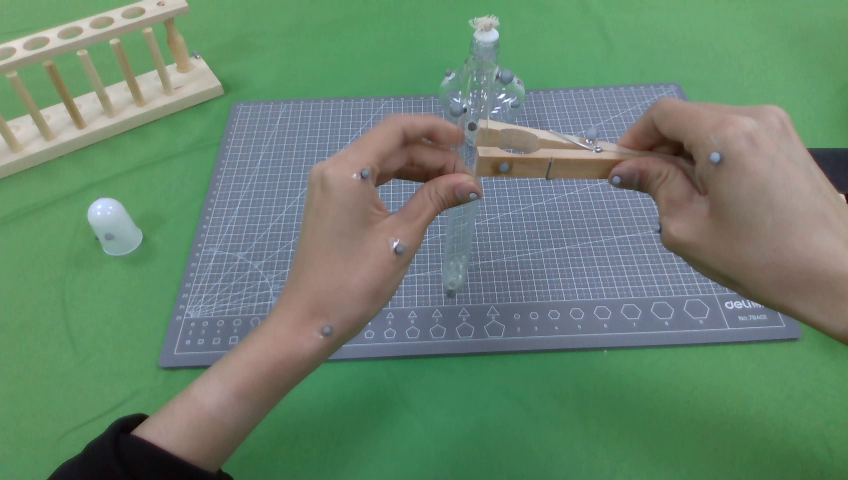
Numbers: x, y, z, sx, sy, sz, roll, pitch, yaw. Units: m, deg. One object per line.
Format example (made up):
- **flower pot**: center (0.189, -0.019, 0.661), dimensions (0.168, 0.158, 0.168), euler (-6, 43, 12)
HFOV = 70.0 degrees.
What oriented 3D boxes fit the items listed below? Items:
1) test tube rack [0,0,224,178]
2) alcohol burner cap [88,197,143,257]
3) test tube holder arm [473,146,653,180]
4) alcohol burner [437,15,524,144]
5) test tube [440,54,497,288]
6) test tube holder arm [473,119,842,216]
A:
- **test tube rack**: center (-0.326, -0.146, 0.569), dimensions (0.242, 0.086, 0.066), euler (-27, 54, -19)
- **alcohol burner cap**: center (-0.250, -0.013, 0.485), dimensions (0.034, 0.048, 0.033), euler (-1, 50, 1)
- **test tube holder arm**: center (0.068, -0.038, 0.298), dimensions (0.088, 0.015, 0.010), euler (-2, 47, -7)
- **alcohol burner**: center (0.050, -0.143, 0.531), dimensions (0.078, 0.120, 0.077), euler (0, 51, 0)
- **test tube**: center (0.021, -0.027, 0.323), dimensions (0.017, 0.151, 0.017), euler (2, 44, -2)
- **test tube holder arm**: center (0.113, -0.036, 0.301), dimensions (0.178, 0.015, 0.013), euler (11, 48, 5)
